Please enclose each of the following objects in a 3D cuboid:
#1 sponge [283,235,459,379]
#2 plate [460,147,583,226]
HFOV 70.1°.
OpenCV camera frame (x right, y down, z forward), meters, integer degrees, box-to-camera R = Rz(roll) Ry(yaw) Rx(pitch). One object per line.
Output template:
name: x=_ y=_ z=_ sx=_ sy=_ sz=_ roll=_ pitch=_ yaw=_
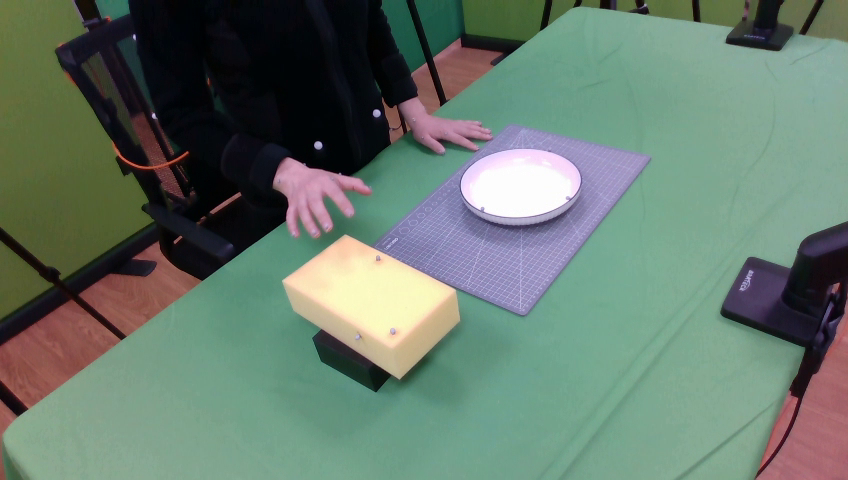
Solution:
sponge: x=-0.072 y=0.081 z=0.798 sx=0.205 sy=0.061 sz=0.118 roll=25 pitch=51 yaw=33
plate: x=0.166 y=-0.089 z=1.043 sx=0.209 sy=0.038 sz=0.208 roll=-5 pitch=40 yaw=5
